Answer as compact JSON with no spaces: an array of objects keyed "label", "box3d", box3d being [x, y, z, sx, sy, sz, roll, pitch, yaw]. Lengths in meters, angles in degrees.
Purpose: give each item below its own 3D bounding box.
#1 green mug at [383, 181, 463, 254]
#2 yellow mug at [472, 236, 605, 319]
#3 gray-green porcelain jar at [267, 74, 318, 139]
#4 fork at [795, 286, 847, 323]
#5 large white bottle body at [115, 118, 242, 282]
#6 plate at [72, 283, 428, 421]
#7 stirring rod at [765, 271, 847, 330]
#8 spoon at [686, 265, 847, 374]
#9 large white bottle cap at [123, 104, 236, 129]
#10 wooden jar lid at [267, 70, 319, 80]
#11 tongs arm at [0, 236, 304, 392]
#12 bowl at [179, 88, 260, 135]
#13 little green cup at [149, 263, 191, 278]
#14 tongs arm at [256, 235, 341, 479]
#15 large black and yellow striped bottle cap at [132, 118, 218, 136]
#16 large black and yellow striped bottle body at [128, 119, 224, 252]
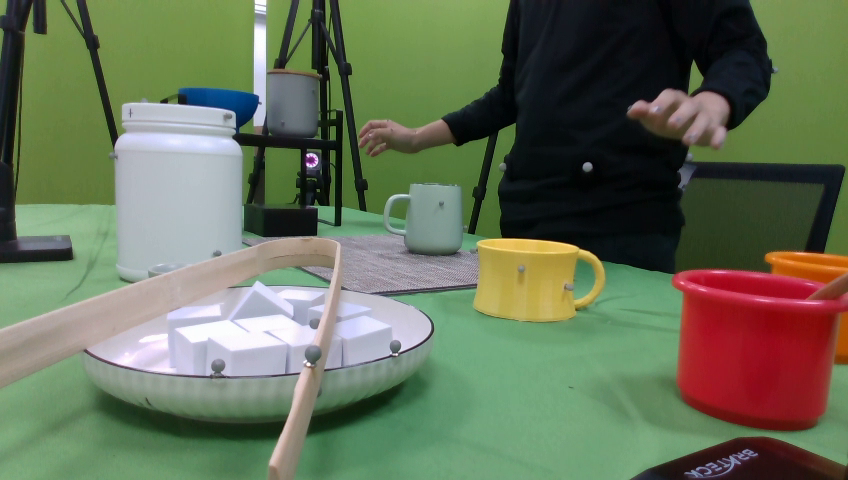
[{"label":"green mug","box3d":[-0.001,-0.036,0.922,0.126,0.105,0.092,0,8,-16]},{"label":"yellow mug","box3d":[0.114,0.034,0.590,0.131,0.064,0.100,2,7,-7]},{"label":"gray-green porcelain jar","box3d":[-0.277,-0.279,1.280,0.106,0.126,0.106,2,8,0]},{"label":"fork","box3d":[0.332,0.018,0.443,0.028,0.018,0.207,-4,-35,-16]},{"label":"large white bottle body","box3d":[-0.270,-0.051,0.673,0.131,0.184,0.130,2,8,0]},{"label":"plate","box3d":[-0.102,0.066,0.381,0.208,0.039,0.207,2,7,0]},{"label":"stirring rod","box3d":[0.352,0.020,0.481,0.176,0.006,0.014,-40,-8,17]},{"label":"spoon","box3d":[0.214,0.032,0.327,0.042,0.021,0.193,-2,-35,-26]},{"label":"large white bottle cap","box3d":[-0.266,-0.134,0.663,0.115,0.018,0.115,3,7,0]},{"label":"wooden jar lid","box3d":[-0.275,-0.339,1.271,0.108,0.020,0.108,5,6,0]},{"label":"tongs arm","box3d":[-0.157,0.037,0.351,0.028,0.028,0.388,-3,8,12]},{"label":"bowl","box3d":[-0.400,-0.248,1.188,0.151,0.077,0.151,2,6,0]},{"label":"little green cup","box3d":[-0.207,0.043,0.531,0.061,0.038,0.061,3,6,0]},{"label":"tongs arm","box3d":[-0.074,0.039,0.349,0.051,0.026,0.384,-1,9,-2]},{"label":"large black and yellow striped bottle cap","box3d":[-0.359,-0.164,0.875,0.115,0.019,0.115,2,6,0]},{"label":"large black and yellow striped bottle body","box3d":[-0.361,-0.081,0.887,0.131,0.184,0.130,2,8,0]}]
